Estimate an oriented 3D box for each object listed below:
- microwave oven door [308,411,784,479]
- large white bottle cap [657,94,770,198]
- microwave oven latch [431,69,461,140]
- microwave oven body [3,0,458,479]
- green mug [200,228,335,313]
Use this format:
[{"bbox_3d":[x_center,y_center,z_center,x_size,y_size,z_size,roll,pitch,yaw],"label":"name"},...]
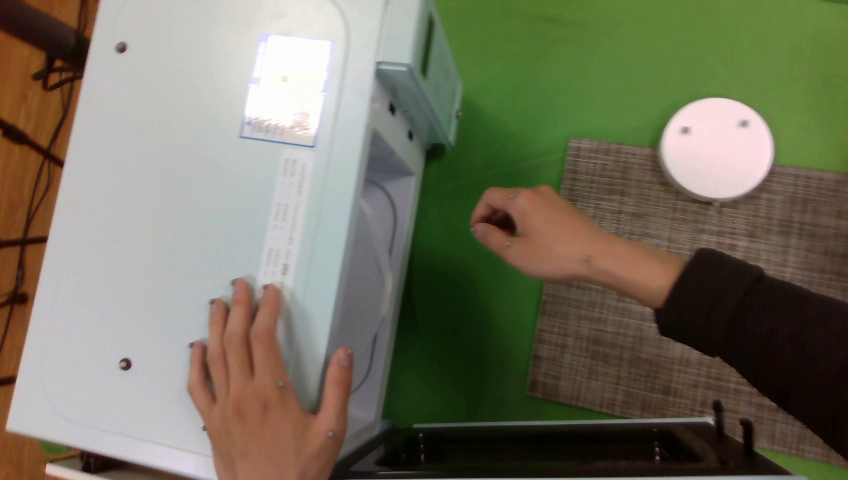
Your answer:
[{"bbox_3d":[0.101,0.196,0.544,0.355,0.245,0.039,-5,82,10],"label":"microwave oven door"},{"bbox_3d":[0.318,-0.103,0.667,0.114,0.018,0.114,-1,83,10],"label":"large white bottle cap"},{"bbox_3d":[0.024,-0.158,0.703,0.030,0.029,0.079,9,86,11],"label":"microwave oven latch"},{"bbox_3d":[-0.169,-0.019,0.623,0.325,0.261,0.441,9,86,11],"label":"microwave oven body"},{"bbox_3d":[-0.157,0.031,0.638,0.125,0.105,0.092,-2,85,7],"label":"green mug"}]
